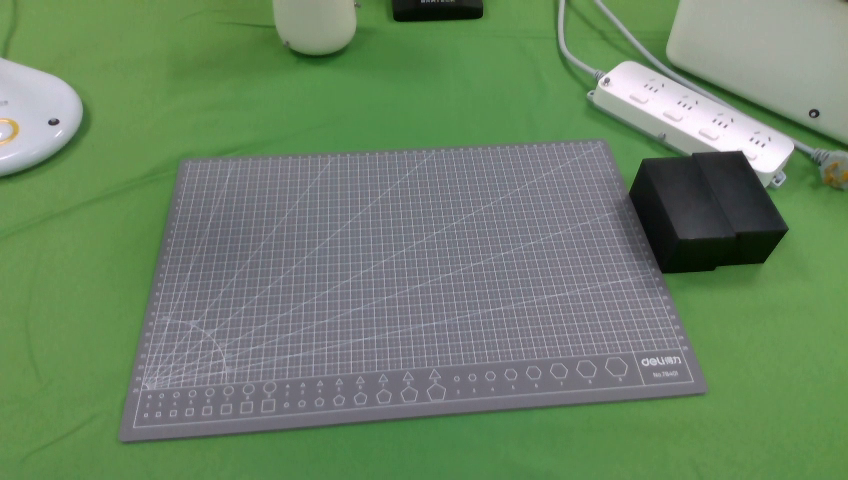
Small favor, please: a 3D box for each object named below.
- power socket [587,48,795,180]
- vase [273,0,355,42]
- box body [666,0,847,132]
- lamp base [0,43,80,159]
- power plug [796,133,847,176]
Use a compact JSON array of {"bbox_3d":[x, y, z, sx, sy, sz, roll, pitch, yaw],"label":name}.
[{"bbox_3d":[0.286,-0.141,0.656,0.225,0.033,0.072,38,60,25],"label":"power socket"},{"bbox_3d":[-0.131,-0.329,0.684,0.098,0.202,0.097,1,51,-1],"label":"vase"},{"bbox_3d":[0.492,-0.260,0.671,0.361,0.162,0.254,35,59,23],"label":"box body"},{"bbox_3d":[-0.455,-0.194,0.582,0.161,0.182,0.177,-30,56,-22],"label":"lamp base"},{"bbox_3d":[0.413,-0.086,0.626,0.053,0.035,0.072,-26,25,-30],"label":"power plug"}]
